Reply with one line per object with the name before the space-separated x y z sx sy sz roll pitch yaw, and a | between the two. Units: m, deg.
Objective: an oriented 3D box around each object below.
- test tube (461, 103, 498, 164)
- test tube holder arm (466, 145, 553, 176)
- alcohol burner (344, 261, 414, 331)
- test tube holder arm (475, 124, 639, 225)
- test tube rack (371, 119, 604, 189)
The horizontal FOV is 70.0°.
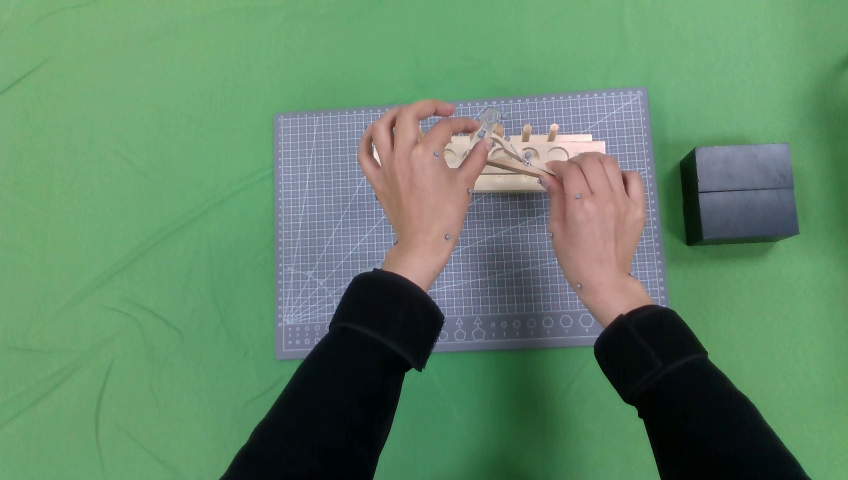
test tube | 0.052 -0.100 0.591 0.017 0.150 0.017 1 82 -4
test tube holder arm | 0.085 -0.078 0.594 0.087 0.015 0.010 15 85 11
alcohol burner | -0.050 0.058 0.647 0.078 0.119 0.077 0 80 2
test tube holder arm | 0.126 -0.064 0.586 0.178 0.015 0.013 31 90 11
test tube rack | 0.068 -0.099 0.676 0.242 0.085 0.066 0 82 4
